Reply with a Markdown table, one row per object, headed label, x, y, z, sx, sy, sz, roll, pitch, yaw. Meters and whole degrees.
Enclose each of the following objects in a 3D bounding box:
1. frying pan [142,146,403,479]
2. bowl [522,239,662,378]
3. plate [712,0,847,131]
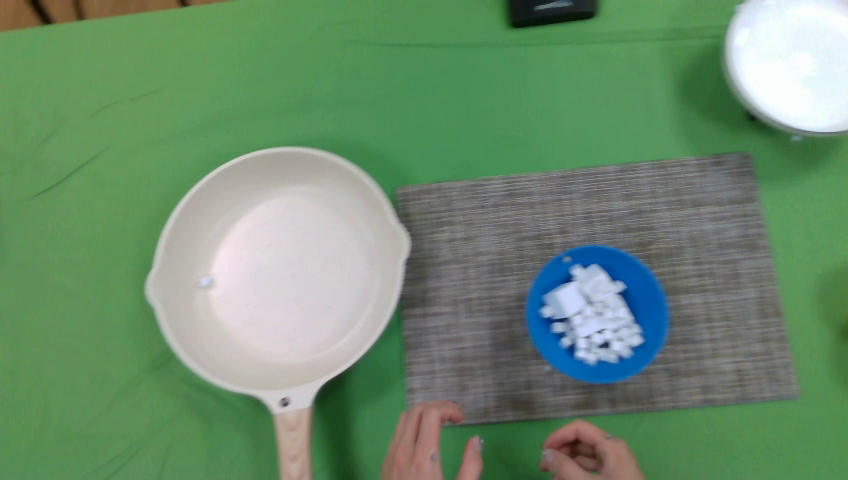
| label | x | y | z | sx | sy | sz | roll | pitch | yaw |
| --- | --- | --- | --- | --- | --- | --- | --- | --- | --- |
| frying pan | -0.158 | 0.128 | 0.689 | 0.307 | 0.103 | 0.484 | -10 | 67 | 2 |
| bowl | 0.183 | 0.082 | 0.690 | 0.151 | 0.077 | 0.150 | -1 | 76 | 4 |
| plate | 0.448 | -0.225 | 0.725 | 0.207 | 0.039 | 0.206 | -1 | 78 | 3 |
